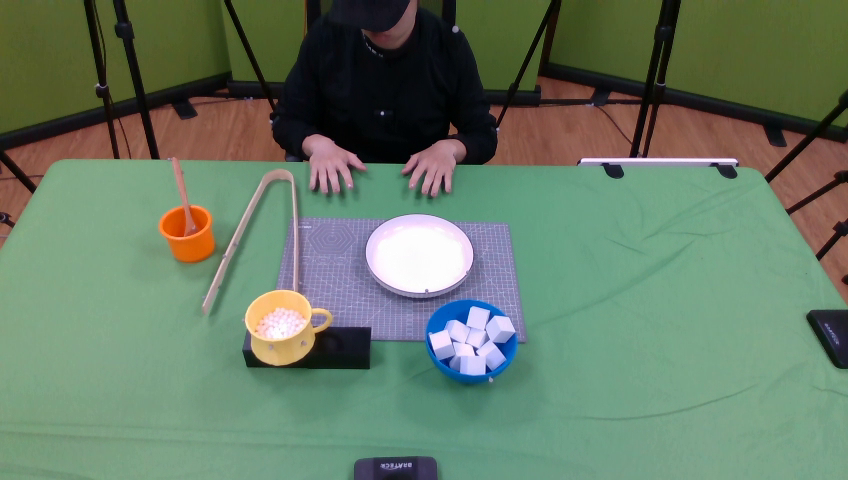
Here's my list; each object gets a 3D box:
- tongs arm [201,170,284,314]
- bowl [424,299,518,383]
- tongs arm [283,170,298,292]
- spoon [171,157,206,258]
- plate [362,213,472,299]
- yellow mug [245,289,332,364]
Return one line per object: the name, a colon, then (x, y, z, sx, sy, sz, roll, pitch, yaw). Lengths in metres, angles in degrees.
tongs arm: (-0.341, -0.011, 1.172, 0.051, 0.026, 0.382, 4, 44, 2)
bowl: (0.072, 0.179, 0.993, 0.151, 0.077, 0.150, 3, 46, -3)
tongs arm: (-0.259, -0.008, 1.177, 0.028, 0.028, 0.385, -8, 46, -5)
spoon: (-0.444, -0.061, 1.133, 0.042, 0.193, 0.021, -12, 4, -20)
plate: (-0.014, 0.034, 1.150, 0.208, 0.039, 0.206, 3, 46, -2)
yellow mug: (-0.210, 0.133, 0.954, 0.131, 0.064, 0.099, -9, 48, -14)
